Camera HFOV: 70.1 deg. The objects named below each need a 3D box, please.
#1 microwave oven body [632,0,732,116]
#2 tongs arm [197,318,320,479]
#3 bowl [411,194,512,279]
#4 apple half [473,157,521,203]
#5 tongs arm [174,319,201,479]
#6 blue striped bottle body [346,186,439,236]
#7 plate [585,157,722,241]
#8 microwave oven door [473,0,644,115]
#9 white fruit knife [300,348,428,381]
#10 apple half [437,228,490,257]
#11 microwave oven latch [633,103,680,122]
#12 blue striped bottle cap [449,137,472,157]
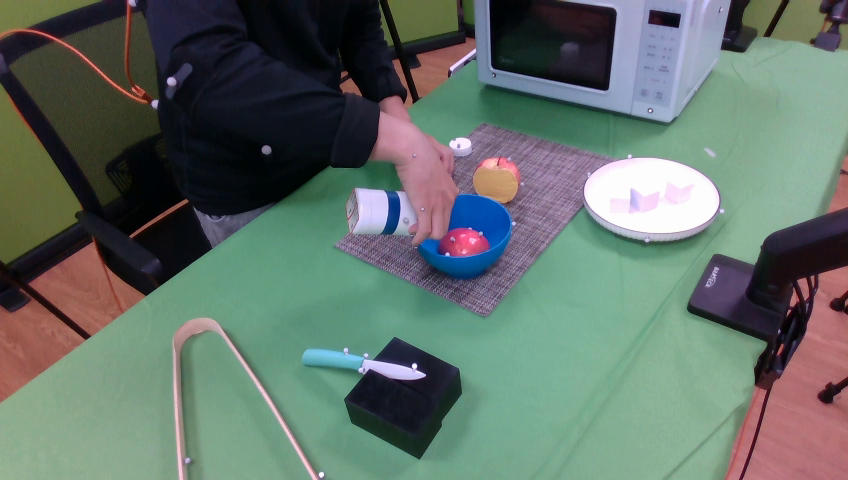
[{"bbox_3d":[0.377,-0.463,1.267,0.438,0.261,0.327,21,49,30],"label":"microwave oven body"},{"bbox_3d":[-0.199,0.207,0.750,0.028,0.028,0.384,-31,45,-22],"label":"tongs arm"},{"bbox_3d":[0.058,0.006,0.905,0.151,0.077,0.150,-4,39,4],"label":"bowl"},{"bbox_3d":[0.128,-0.107,1.030,0.080,0.075,0.053,5,38,19],"label":"apple half"},{"bbox_3d":[-0.272,0.234,0.723,0.051,0.026,0.381,-19,40,-15],"label":"tongs arm"},{"bbox_3d":[-0.041,-0.038,0.829,0.122,0.063,0.062,3,35,-24],"label":"blue striped bottle body"},{"bbox_3d":[0.367,-0.063,0.979,0.207,0.039,0.206,-4,40,4],"label":"plate"},{"bbox_3d":[0.257,-0.396,1.199,0.353,0.245,0.039,21,48,29],"label":"microwave oven door"},{"bbox_3d":[-0.079,0.154,0.748,0.206,0.027,0.016,1,21,34],"label":"white fruit knife"},{"bbox_3d":[0.055,0.002,0.901,0.081,0.033,0.081,-2,40,3],"label":"apple half"},{"bbox_3d":[0.444,-0.249,1.158,0.078,0.029,0.030,21,49,30],"label":"microwave oven latch"},{"bbox_3d":[0.071,-0.180,1.169,0.044,0.021,0.044,-4,42,5],"label":"blue striped bottle cap"}]
